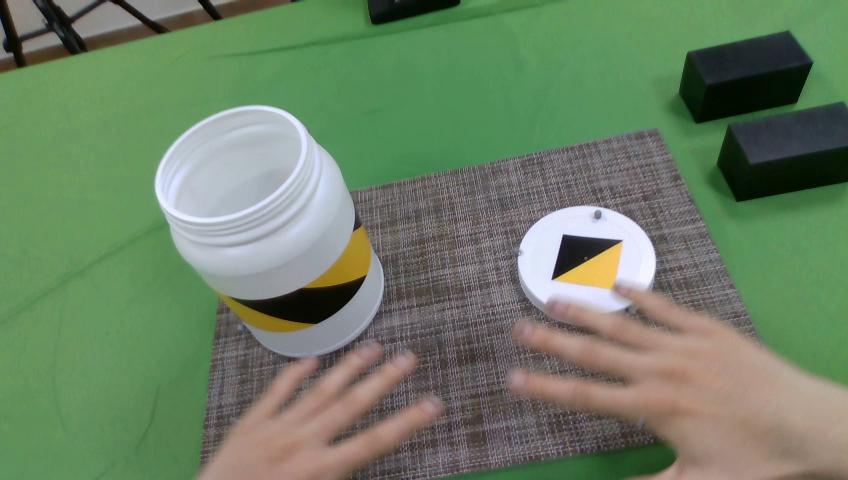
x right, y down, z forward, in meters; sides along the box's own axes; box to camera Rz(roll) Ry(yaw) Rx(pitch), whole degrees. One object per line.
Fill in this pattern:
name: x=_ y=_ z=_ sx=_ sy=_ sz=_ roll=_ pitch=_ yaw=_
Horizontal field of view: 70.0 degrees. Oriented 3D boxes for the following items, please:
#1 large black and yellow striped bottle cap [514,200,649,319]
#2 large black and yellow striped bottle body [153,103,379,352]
large black and yellow striped bottle cap: x=0.135 y=0.014 z=0.524 sx=0.115 sy=0.019 sz=0.114 roll=-5 pitch=56 yaw=8
large black and yellow striped bottle body: x=-0.118 y=-0.005 z=0.484 sx=0.130 sy=0.186 sz=0.129 roll=-5 pitch=54 yaw=8
